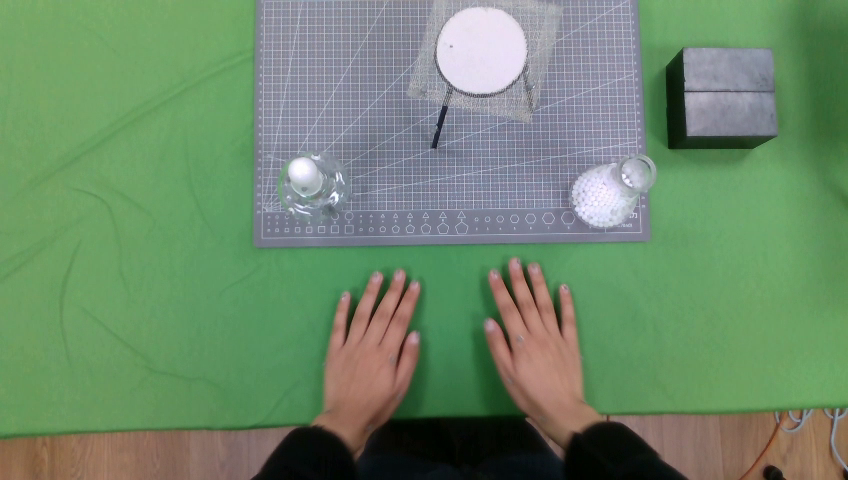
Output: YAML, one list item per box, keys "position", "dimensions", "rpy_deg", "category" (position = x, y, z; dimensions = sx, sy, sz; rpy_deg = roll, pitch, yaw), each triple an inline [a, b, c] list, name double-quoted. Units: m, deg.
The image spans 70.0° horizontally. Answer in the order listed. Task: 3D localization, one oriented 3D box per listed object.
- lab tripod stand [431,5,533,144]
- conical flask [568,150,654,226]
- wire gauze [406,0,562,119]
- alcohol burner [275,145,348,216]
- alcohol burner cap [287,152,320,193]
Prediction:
- position: [0.051, -0.177, 0.638]
  dimensions: [0.148, 0.132, 0.148]
  rpy_deg: [0, 83, 2]
  category: "lab tripod stand"
- position: [0.200, -0.060, 0.633]
  dimensions: [0.075, 0.122, 0.075]
  rpy_deg: [0, 83, -1]
  category: "conical flask"
- position: [0.057, -0.184, 0.572]
  dimensions: [0.121, 0.011, 0.125]
  rpy_deg: [16, 84, 1]
  category: "wire gauze"
- position: [-0.120, -0.065, 0.634]
  dimensions: [0.078, 0.119, 0.077]
  rpy_deg: [0, 85, 0]
  category: "alcohol burner"
- position: [-0.121, -0.069, 0.598]
  dimensions: [0.034, 0.048, 0.033]
  rpy_deg: [1, 79, -4]
  category: "alcohol burner cap"
